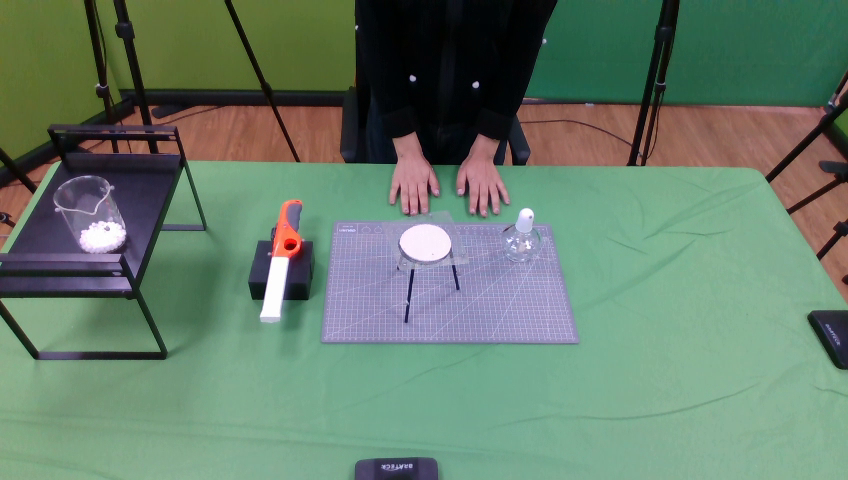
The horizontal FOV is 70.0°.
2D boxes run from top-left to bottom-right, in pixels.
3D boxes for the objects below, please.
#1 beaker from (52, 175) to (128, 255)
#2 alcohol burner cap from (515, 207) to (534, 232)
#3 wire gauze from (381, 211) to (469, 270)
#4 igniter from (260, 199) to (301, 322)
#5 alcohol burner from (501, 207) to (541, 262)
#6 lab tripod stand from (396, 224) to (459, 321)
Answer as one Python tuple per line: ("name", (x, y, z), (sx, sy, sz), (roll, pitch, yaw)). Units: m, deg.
("beaker", (-0.482, -0.032, 0.888), (0.074, 0.101, 0.083), (-28, 55, -27))
("alcohol burner cap", (0.190, -0.041, 1.135), (0.034, 0.048, 0.033), (3, 50, -3))
("wire gauze", (0.000, 0.000, 1.023), (0.125, 0.011, 0.120), (-9, 48, -13))
("igniter", (-0.255, 0.027, 1.084), (0.057, 0.025, 0.274), (3, 49, -5))
("alcohol burner", (0.187, -0.015, 1.161), (0.078, 0.120, 0.077), (1, 44, -1))
("lab tripod stand", (-0.003, 0.052, 1.067), (0.148, 0.132, 0.147), (3, 48, -3))
